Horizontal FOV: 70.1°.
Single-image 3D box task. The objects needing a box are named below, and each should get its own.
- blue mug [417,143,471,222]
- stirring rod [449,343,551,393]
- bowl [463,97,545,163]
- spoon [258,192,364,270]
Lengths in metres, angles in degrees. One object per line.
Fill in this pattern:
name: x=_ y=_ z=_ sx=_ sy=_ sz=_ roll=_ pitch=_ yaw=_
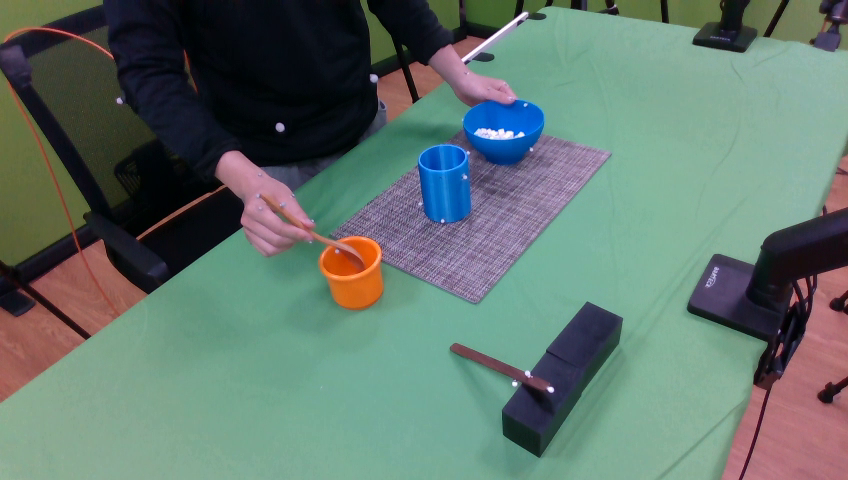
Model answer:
blue mug: x=0.031 y=-0.104 z=1.014 sx=0.082 sy=0.106 sz=0.115 roll=-14 pitch=41 yaw=-7
stirring rod: x=0.088 y=0.154 z=0.741 sx=0.014 sy=0.006 sz=0.174 roll=-39 pitch=28 yaw=-25
bowl: x=0.149 y=-0.195 z=1.123 sx=0.151 sy=0.077 sz=0.150 roll=-4 pitch=41 yaw=4
spoon: x=-0.148 y=-0.009 z=0.818 sx=0.041 sy=0.195 sz=0.021 roll=16 pitch=75 yaw=47
